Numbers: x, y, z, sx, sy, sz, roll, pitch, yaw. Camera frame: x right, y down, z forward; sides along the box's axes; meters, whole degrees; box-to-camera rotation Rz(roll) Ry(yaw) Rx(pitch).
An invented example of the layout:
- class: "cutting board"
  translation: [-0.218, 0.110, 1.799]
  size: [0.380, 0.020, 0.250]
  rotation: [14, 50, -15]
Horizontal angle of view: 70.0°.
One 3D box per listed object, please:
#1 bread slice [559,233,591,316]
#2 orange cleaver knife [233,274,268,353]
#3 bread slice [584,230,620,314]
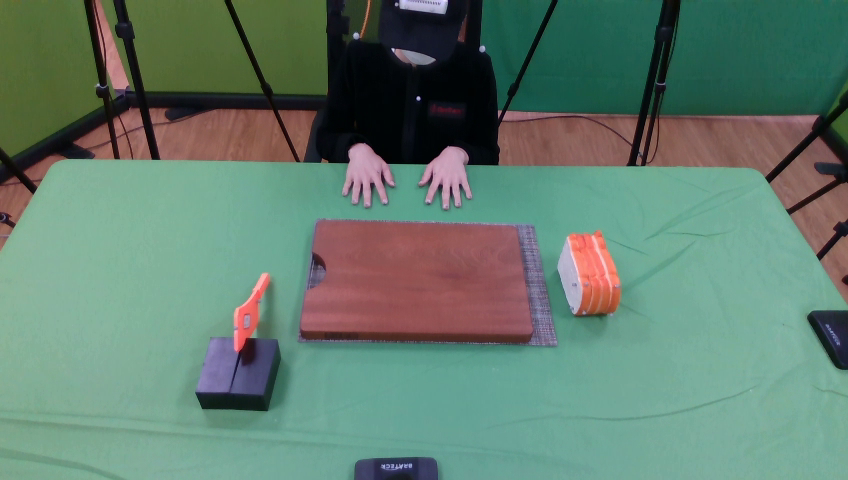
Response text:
- class: "bread slice"
  translation: [0.272, 0.068, 1.096]
  size: [0.019, 0.105, 0.130]
  rotation: [-4, 52, -3]
- class: "orange cleaver knife"
  translation: [-0.291, 0.118, 1.020]
  size: [0.012, 0.077, 0.210]
  rotation: [1, 18, -1]
- class: "bread slice"
  translation: [0.322, 0.067, 1.103]
  size: [0.018, 0.107, 0.133]
  rotation: [-8, 55, -3]
